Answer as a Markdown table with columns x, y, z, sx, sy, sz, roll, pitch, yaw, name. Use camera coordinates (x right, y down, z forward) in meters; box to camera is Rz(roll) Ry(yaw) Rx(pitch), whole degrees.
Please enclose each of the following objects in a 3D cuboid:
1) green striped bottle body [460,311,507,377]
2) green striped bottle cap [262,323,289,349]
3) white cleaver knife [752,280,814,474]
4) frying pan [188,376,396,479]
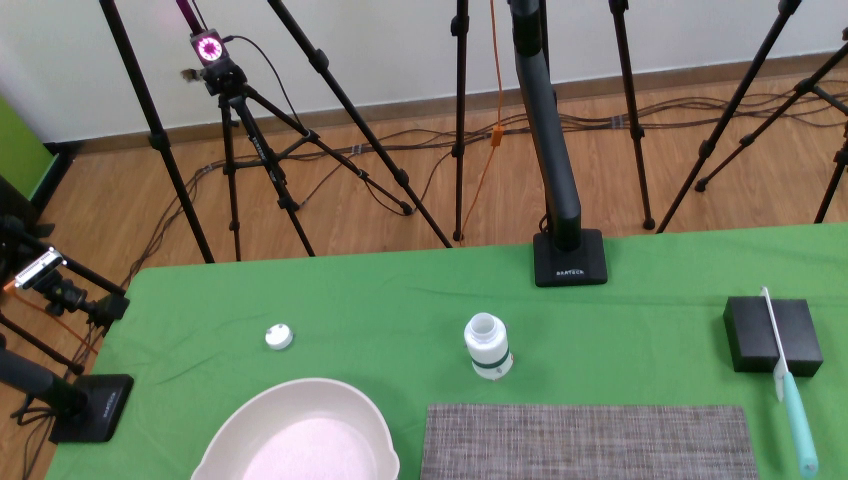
| x | y | z | sx | sy | sz | roll | pitch | yaw | name |
| --- | --- | --- | --- | --- | --- | --- | --- | --- | --- |
| 0.091 | 0.155 | 0.920 | 0.063 | 0.120 | 0.062 | -7 | 50 | 9 | green striped bottle body |
| -0.261 | 0.168 | 1.064 | 0.044 | 0.020 | 0.044 | -7 | 50 | 9 | green striped bottle cap |
| 0.489 | 0.179 | 0.836 | 0.021 | 0.066 | 0.284 | -5 | 49 | 19 | white cleaver knife |
| -0.187 | 0.412 | 0.794 | 0.306 | 0.104 | 0.483 | -7 | 42 | 10 | frying pan |
